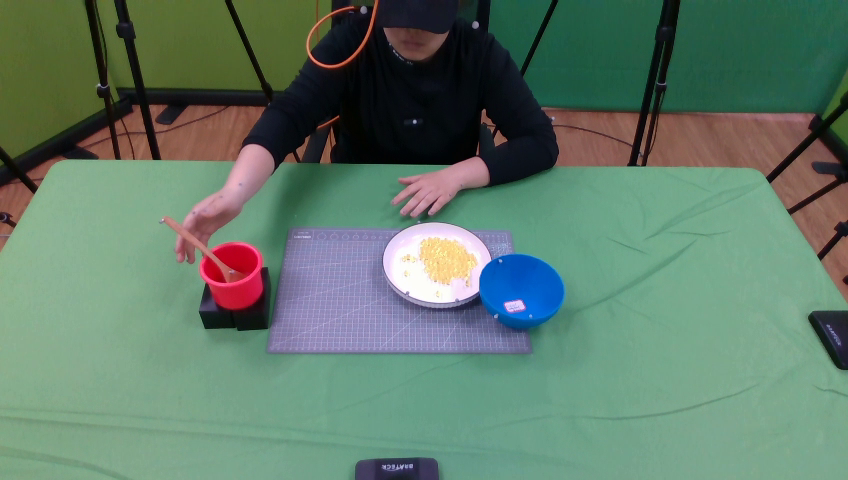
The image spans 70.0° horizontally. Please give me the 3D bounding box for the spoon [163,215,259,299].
[{"bbox_3d":[-0.348,0.027,0.992,0.194,0.021,0.041,48,51,-19],"label":"spoon"}]

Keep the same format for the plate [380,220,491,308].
[{"bbox_3d":[0.022,0.048,1.137,0.208,0.039,0.206,2,46,-2],"label":"plate"}]

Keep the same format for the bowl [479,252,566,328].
[{"bbox_3d":[0.167,0.103,1.067,0.151,0.077,0.150,2,46,-2],"label":"bowl"}]
